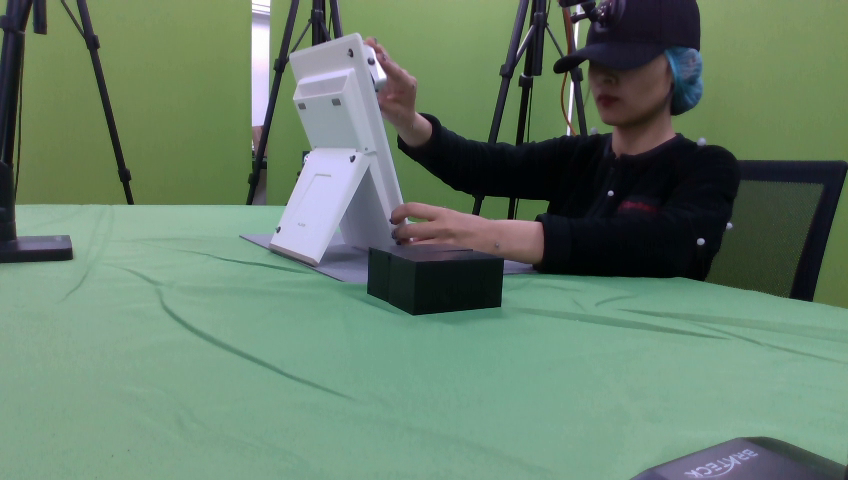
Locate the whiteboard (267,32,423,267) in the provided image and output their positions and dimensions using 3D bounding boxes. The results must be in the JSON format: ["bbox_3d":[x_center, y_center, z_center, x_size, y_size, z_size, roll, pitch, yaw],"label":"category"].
[{"bbox_3d":[-0.154,-0.098,0.818,0.144,0.305,0.216,-25,20,-28],"label":"whiteboard"}]

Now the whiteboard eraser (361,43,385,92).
[{"bbox_3d":[-0.093,-0.210,0.808,0.042,0.055,0.112,-26,-4,-27],"label":"whiteboard eraser"}]
